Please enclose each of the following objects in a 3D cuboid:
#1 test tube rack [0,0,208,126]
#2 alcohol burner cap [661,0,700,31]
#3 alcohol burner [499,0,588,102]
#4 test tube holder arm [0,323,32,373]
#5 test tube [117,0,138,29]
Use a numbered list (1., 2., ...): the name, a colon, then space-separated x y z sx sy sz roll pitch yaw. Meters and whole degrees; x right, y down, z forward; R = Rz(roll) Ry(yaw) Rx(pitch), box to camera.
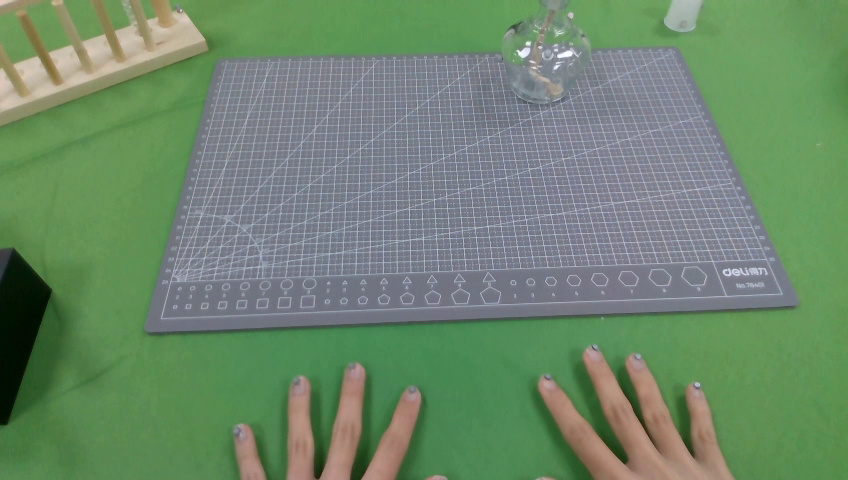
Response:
1. test tube rack: -0.332 -0.180 0.540 0.242 0.086 0.066 -28 57 -20
2. alcohol burner cap: 0.262 -0.239 0.610 0.034 0.048 0.033 -1 53 2
3. alcohol burner: 0.105 -0.180 0.518 0.078 0.120 0.077 0 51 0
4. test tube holder arm: -0.289 0.023 0.369 0.177 0.015 0.013 33 62 24
5. test tube: -0.283 -0.256 0.534 0.017 0.151 0.017 -2 51 2
